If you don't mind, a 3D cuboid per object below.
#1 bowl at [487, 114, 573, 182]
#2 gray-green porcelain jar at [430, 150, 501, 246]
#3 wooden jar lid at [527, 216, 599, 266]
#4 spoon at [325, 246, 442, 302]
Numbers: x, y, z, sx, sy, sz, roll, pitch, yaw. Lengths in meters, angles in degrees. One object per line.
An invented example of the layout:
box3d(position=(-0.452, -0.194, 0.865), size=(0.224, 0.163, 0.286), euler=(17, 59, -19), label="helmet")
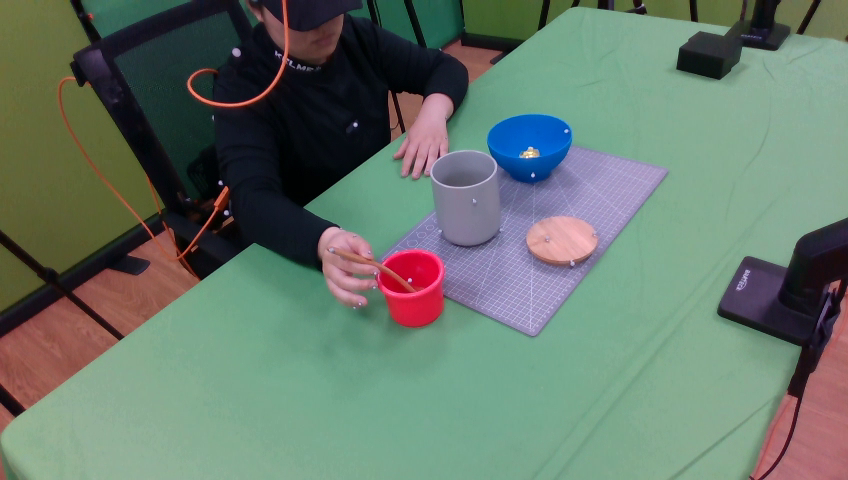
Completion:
box3d(position=(0.190, -0.156, 1.085), size=(0.151, 0.077, 0.150), euler=(-5, 40, 5), label="bowl")
box3d(position=(0.069, -0.062, 0.959), size=(0.106, 0.127, 0.105), euler=(-5, 40, 5), label="gray-green porcelain jar")
box3d(position=(0.215, 0.003, 0.937), size=(0.108, 0.021, 0.108), euler=(-4, 40, 4), label="wooden jar lid")
box3d(position=(-0.052, 0.046, 0.834), size=(0.021, 0.195, 0.041), euler=(-55, 32, 6), label="spoon")
